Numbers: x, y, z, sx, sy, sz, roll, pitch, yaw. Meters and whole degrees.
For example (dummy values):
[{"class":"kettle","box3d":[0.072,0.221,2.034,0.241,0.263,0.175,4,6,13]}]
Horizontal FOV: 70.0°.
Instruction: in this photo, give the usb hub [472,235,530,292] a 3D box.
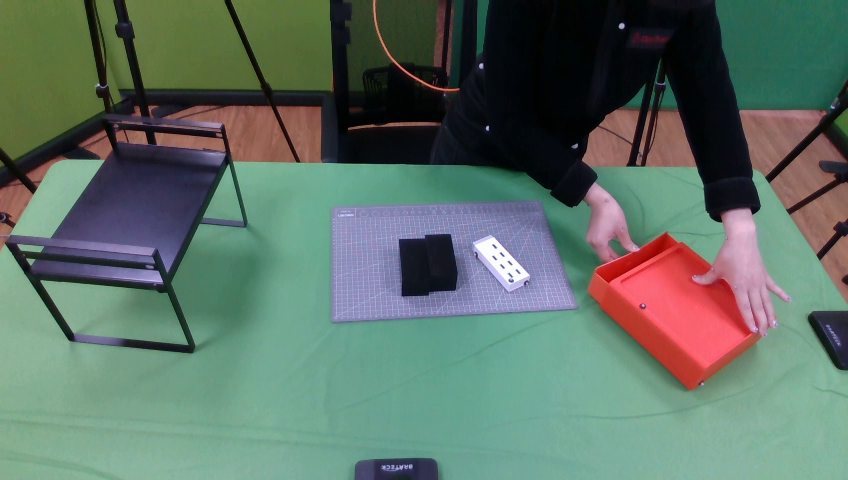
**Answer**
[{"class":"usb hub","box3d":[0.145,0.043,1.159,0.049,0.025,0.124,-24,51,-22]}]

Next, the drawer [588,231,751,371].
[{"class":"drawer","box3d":[0.440,0.104,1.092,0.194,0.073,0.210,-23,54,-25]}]

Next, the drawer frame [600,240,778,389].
[{"class":"drawer frame","box3d":[0.460,0.122,1.067,0.202,0.083,0.212,-25,53,-25]}]
